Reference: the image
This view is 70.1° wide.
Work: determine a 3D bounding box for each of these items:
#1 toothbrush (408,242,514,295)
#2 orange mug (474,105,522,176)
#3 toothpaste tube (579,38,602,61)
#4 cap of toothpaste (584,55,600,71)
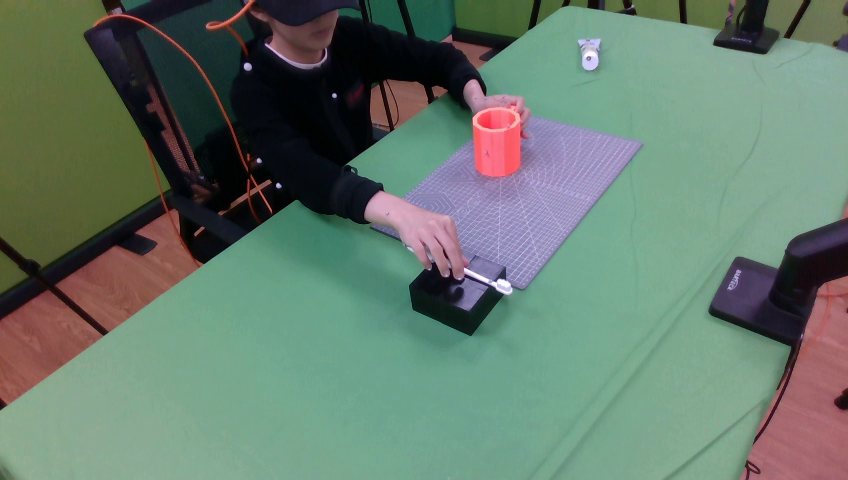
[{"bbox_3d":[0.048,0.036,0.855,0.180,0.017,0.014,23,58,31],"label":"toothbrush"},{"bbox_3d":[0.145,-0.192,1.114,0.083,0.101,0.126,18,51,27],"label":"orange mug"},{"bbox_3d":[0.398,-0.449,1.433,0.055,0.034,0.164,6,38,8],"label":"toothpaste tube"},{"bbox_3d":[0.381,-0.403,1.372,0.037,0.037,0.011,1,38,10],"label":"cap of toothpaste"}]
